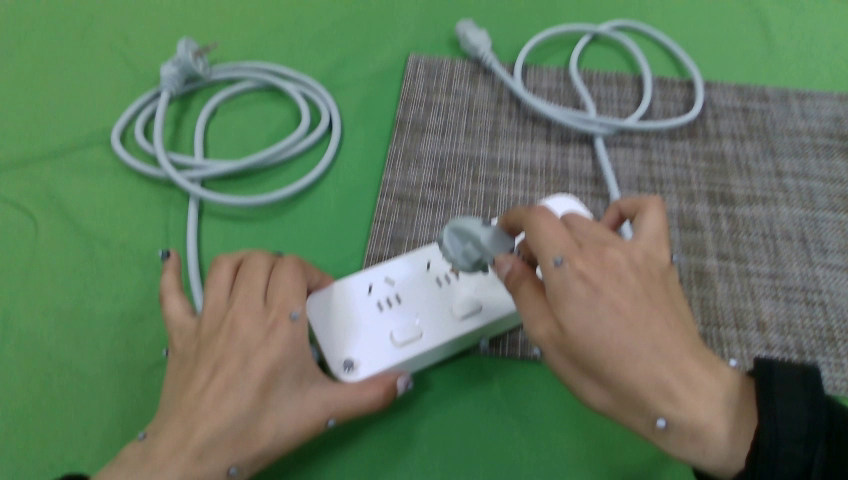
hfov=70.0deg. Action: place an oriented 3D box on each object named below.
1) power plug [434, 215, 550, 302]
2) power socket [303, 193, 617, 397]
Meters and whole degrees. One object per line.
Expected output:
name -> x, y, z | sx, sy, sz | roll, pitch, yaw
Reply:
power plug -> 0.033, 0.017, 0.359 | 0.035, 0.053, 0.072 | -23, 76, -30
power socket -> 0.027, 0.032, 0.405 | 0.227, 0.033, 0.071 | -22, 58, -16
